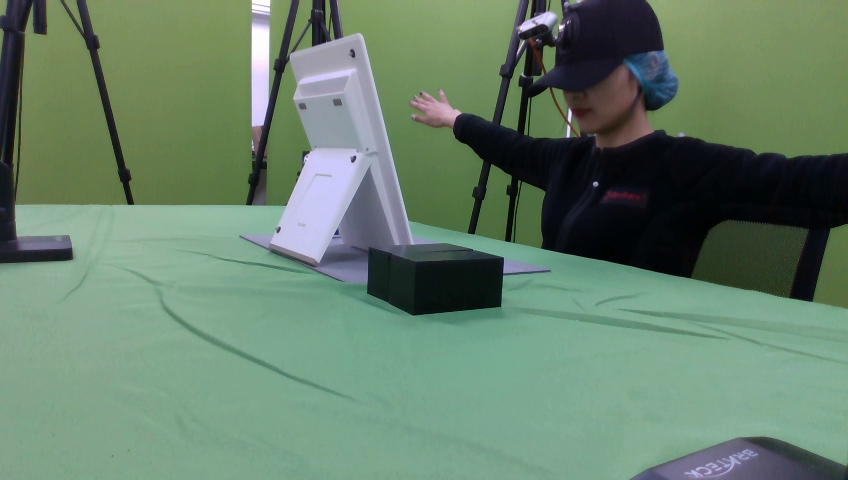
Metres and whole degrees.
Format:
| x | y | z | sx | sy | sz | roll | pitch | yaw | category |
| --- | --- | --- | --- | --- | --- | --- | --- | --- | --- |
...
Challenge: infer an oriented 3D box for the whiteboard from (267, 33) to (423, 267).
| x | y | z | sx | sy | sz | roll | pitch | yaw | category |
| --- | --- | --- | --- | --- | --- | --- | --- | --- | --- |
| -0.153 | -0.098 | 0.819 | 0.144 | 0.305 | 0.216 | -25 | 21 | -29 | whiteboard |

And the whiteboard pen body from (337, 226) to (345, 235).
| x | y | z | sx | sy | sz | roll | pitch | yaw | category |
| --- | --- | --- | --- | --- | --- | --- | --- | --- | --- |
| -0.115 | -0.017 | 1.083 | 0.141 | 0.017 | 0.017 | 0 | 7 | -34 | whiteboard pen body |

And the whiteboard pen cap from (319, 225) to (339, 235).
| x | y | z | sx | sy | sz | roll | pitch | yaw | category |
| --- | --- | --- | --- | --- | --- | --- | --- | --- | --- |
| -0.164 | -0.017 | 1.050 | 0.033 | 0.018 | 0.018 | 1 | 6 | -34 | whiteboard pen cap |
